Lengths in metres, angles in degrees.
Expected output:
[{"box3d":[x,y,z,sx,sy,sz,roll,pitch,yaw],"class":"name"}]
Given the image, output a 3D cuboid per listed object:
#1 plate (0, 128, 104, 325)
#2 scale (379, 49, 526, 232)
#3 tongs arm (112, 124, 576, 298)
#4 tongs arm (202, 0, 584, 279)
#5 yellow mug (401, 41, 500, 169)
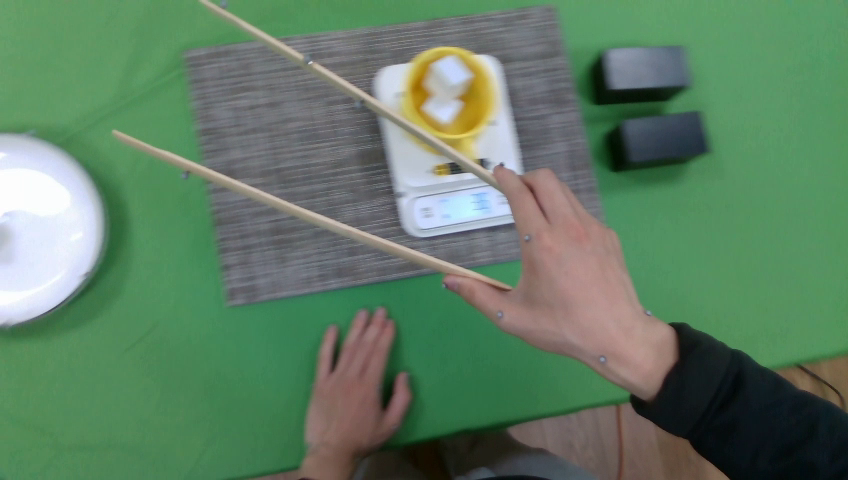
[{"box3d":[-0.445,-0.013,0.640,0.208,0.039,0.207,1,84,-7],"class":"plate"},{"box3d":[0.034,-0.117,0.703,0.149,0.031,0.200,-10,86,-7],"class":"scale"},{"box3d":[-0.074,-0.026,0.471,0.386,0.028,0.028,20,76,9],"class":"tongs arm"},{"box3d":[-0.038,-0.089,0.480,0.383,0.026,0.050,31,81,11],"class":"tongs arm"},{"box3d":[0.032,-0.140,0.657,0.100,0.064,0.130,-20,88,-9],"class":"yellow mug"}]
